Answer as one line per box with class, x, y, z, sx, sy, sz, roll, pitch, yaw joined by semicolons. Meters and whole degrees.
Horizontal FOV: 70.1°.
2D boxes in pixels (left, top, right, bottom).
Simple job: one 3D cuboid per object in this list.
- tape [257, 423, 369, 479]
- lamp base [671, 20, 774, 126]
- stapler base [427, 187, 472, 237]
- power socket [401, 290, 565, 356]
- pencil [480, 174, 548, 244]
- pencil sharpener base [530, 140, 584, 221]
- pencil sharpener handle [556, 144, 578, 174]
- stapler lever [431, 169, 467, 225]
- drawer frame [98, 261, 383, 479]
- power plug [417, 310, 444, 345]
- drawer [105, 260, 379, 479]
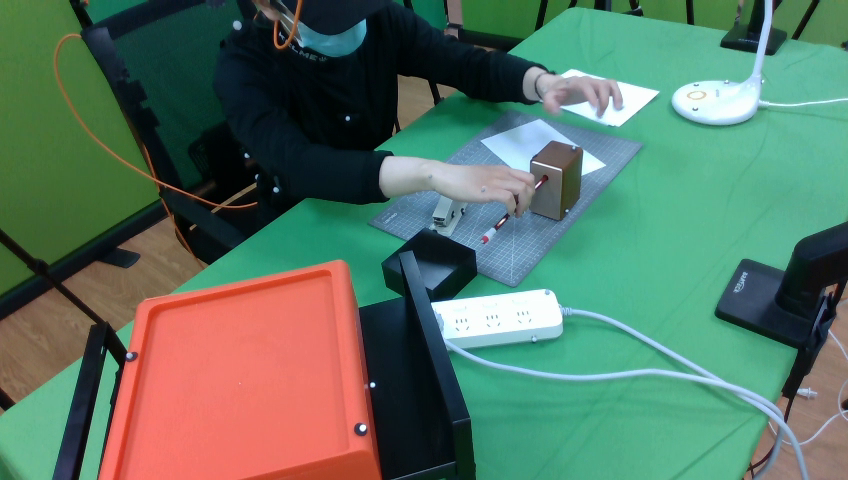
tape;-0.121;0.262;0.660;0.117;0.053;0.116;-4;40;4
lamp base;0.581;-0.332;1.154;0.179;0.181;0.160;2;41;7
stapler base;0.045;-0.057;1.028;0.041;0.024;0.130;10;45;20
power socket;0.080;0.112;0.822;0.227;0.033;0.072;-6;41;0
pencil;0.144;-0.055;0.911;0.012;0.012;0.194;25;54;32
pencil sharpener base;0.217;-0.098;0.986;0.061;0.107;0.077;21;48;30
pencil sharpener handle;0.241;-0.139;1.010;0.036;0.068;0.031;37;54;12
stapler lever;0.043;-0.074;1.010;0.026;0.040;0.118;10;45;20
drawer frame;-0.148;0.129;0.520;0.202;0.083;0.212;-12;41;-6
power plug;0.006;0.122;0.785;0.035;0.053;0.072;0;40;9
drawer;-0.150;0.127;0.525;0.195;0.073;0.210;-11;41;-5
